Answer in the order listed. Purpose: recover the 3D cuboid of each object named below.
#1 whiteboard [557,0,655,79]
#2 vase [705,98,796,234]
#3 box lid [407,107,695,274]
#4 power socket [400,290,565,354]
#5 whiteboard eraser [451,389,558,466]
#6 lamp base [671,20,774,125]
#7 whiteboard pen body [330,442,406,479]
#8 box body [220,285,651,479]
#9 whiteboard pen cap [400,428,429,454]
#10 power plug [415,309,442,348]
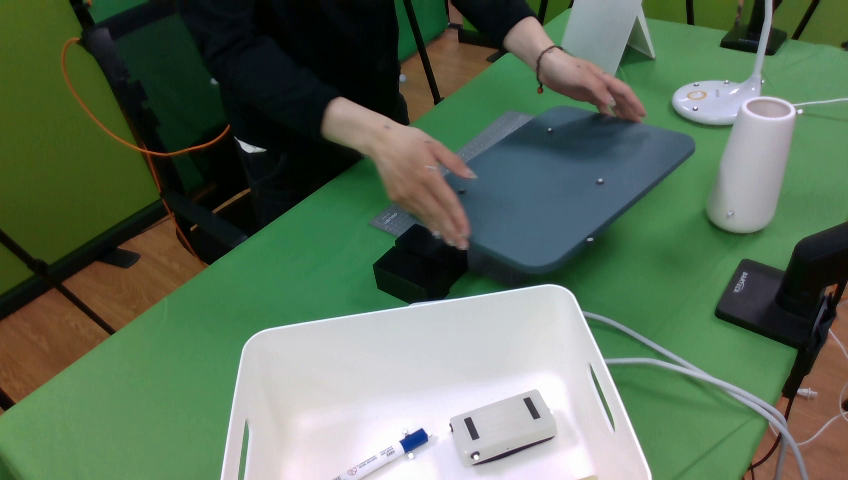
[{"bbox_3d":[0.462,-0.542,1.366,0.145,0.306,0.215,-3,36,-25],"label":"whiteboard"},{"bbox_3d":[0.480,-0.104,0.888,0.098,0.201,0.097,-4,42,4],"label":"vase"},{"bbox_3d":[0.180,-0.091,0.863,0.373,0.015,0.261,-35,42,-29],"label":"box lid"},{"bbox_3d":[0.079,0.111,0.823,0.227,0.033,0.072,-6,41,1],"label":"power socket"},{"bbox_3d":[0.090,0.213,0.682,0.113,0.042,0.055,-17,39,-8],"label":"whiteboard eraser"},{"bbox_3d":[0.581,-0.332,1.154,0.179,0.181,0.160,2,41,7],"label":"lamp base"},{"bbox_3d":[-0.063,0.254,0.677,0.141,0.017,0.017,-23,43,-22],"label":"whiteboard pen body"},{"bbox_3d":[0.005,0.211,0.616,0.364,0.161,0.252,-9,40,-2],"label":"box body"},{"bbox_3d":[-0.012,0.232,0.695,0.033,0.018,0.018,-24,43,-20],"label":"whiteboard pen cap"},{"bbox_3d":[0.004,0.121,0.786,0.035,0.053,0.072,0,45,8],"label":"power plug"}]
